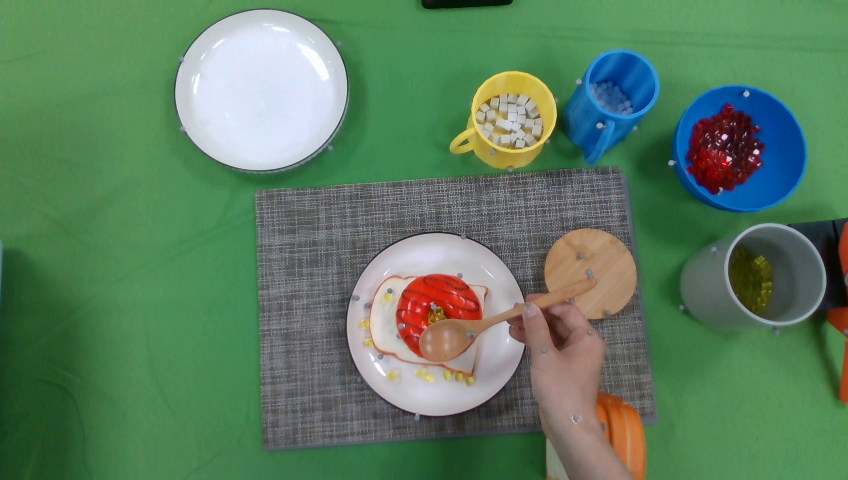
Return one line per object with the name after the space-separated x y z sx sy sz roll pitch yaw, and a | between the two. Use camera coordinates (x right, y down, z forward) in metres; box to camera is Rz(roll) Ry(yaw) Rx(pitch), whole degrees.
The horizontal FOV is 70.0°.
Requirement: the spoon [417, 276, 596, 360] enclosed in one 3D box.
0.078 0.076 0.602 0.193 0.022 0.041 -24 77 23 | spoon

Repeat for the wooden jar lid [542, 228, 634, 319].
0.192 0.040 0.717 0.108 0.021 0.108 0 81 -1 | wooden jar lid

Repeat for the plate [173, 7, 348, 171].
-0.196 -0.181 0.741 0.208 0.039 0.207 0 80 -1 | plate

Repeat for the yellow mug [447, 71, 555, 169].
0.087 -0.136 0.725 0.131 0.064 0.099 -25 81 -4 | yellow mug

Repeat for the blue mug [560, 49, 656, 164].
0.209 -0.146 0.710 0.082 0.106 0.116 16 80 2 | blue mug

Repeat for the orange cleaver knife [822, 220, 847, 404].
0.480 0.084 0.688 0.012 0.076 0.212 -6 110 -1 | orange cleaver knife

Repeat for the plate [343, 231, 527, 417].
0.013 0.094 0.693 0.209 0.038 0.208 0 80 -1 | plate

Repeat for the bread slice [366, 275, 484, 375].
-0.001 0.093 0.696 0.132 0.019 0.104 10 79 -3 | bread slice

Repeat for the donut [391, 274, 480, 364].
0.012 0.086 0.667 0.099 0.048 0.098 1 79 -3 | donut

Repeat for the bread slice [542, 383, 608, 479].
0.154 0.205 0.633 0.018 0.134 0.106 4 78 -10 | bread slice

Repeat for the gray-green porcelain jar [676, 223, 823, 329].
0.349 0.045 0.670 0.106 0.127 0.105 0 80 -1 | gray-green porcelain jar

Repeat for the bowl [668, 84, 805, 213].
0.355 -0.099 0.719 0.151 0.077 0.151 0 80 -1 | bowl
